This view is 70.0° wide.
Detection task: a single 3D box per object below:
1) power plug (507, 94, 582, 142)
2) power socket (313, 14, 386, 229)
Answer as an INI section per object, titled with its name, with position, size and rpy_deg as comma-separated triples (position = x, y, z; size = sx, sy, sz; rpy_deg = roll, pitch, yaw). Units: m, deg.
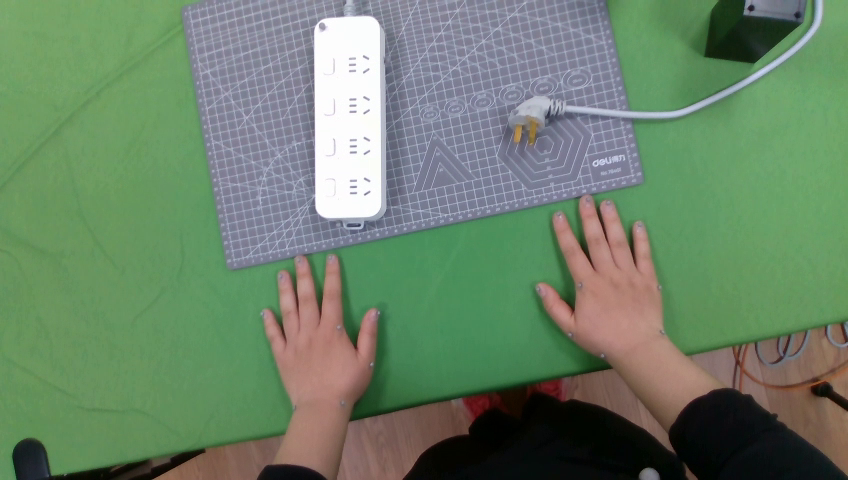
[power plug]
position = 0.120, -0.122, 0.608
size = 0.072, 0.035, 0.052
rpy_deg = 3, 70, 18
[power socket]
position = -0.078, -0.125, 0.636
size = 0.072, 0.032, 0.226
rpy_deg = -1, 87, 5
